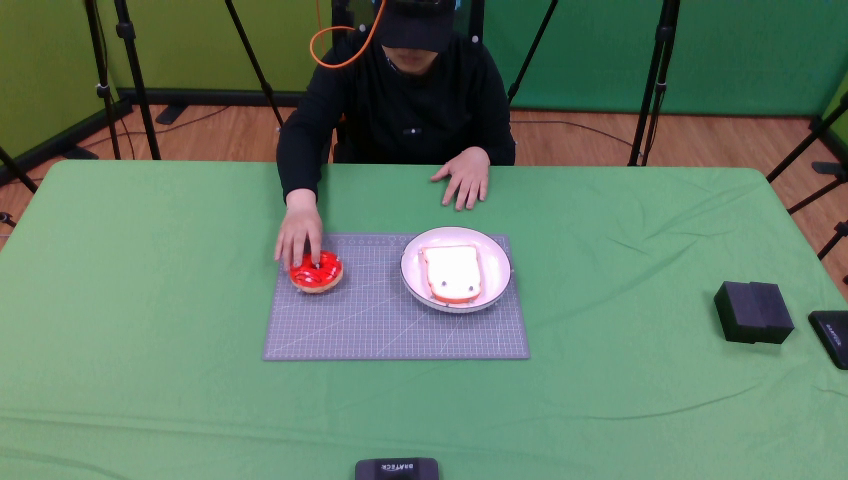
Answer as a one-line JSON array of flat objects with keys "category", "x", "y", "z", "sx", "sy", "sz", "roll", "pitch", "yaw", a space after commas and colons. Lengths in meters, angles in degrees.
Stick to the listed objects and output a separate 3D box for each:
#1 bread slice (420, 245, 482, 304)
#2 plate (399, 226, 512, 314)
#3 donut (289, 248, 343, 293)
[{"category": "bread slice", "x": 0.056, "y": 0.063, "z": 1.131, "sx": 0.107, "sy": 0.018, "sz": 0.133, "roll": -6, "pitch": 46, "yaw": -8}, {"category": "plate", "x": 0.057, "y": 0.058, "z": 1.134, "sx": 0.209, "sy": 0.038, "sz": 0.208, "roll": 2, "pitch": 46, "yaw": -2}, {"category": "donut", "x": -0.198, "y": 0.055, "z": 1.111, "sx": 0.099, "sy": 0.048, "sz": 0.098, "roll": 0, "pitch": 41, "yaw": 0}]
